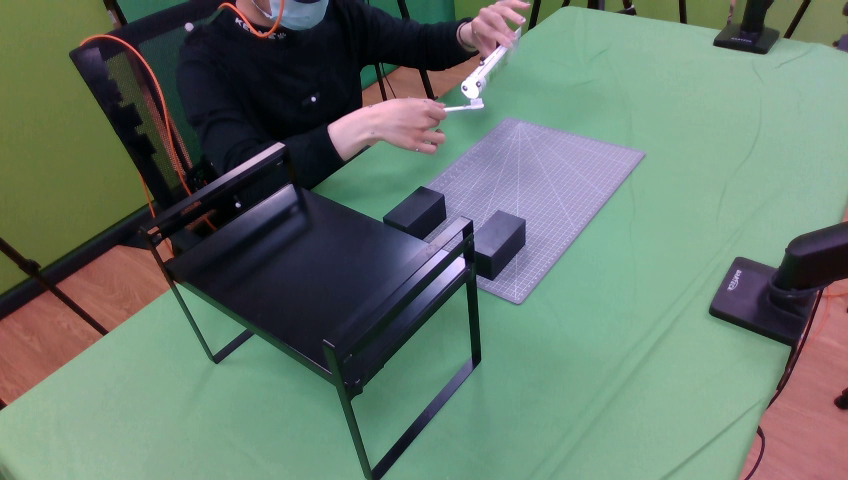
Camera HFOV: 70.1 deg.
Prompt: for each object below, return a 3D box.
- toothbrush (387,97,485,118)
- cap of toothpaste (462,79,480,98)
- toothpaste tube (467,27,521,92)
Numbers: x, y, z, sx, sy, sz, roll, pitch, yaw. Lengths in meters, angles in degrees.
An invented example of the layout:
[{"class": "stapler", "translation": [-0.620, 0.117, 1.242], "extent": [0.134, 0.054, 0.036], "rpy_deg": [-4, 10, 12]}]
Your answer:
[{"class": "toothbrush", "translation": [0.018, -0.234, 1.077], "extent": [0.181, 0.017, 0.014], "rpy_deg": [-4, 38, 18]}, {"class": "cap of toothpaste", "translation": [0.078, -0.257, 1.029], "extent": [0.037, 0.011, 0.037], "rpy_deg": [13, 64, -29]}, {"class": "toothpaste tube", "translation": [0.125, -0.316, 1.080], "extent": [0.034, 0.055, 0.165], "rpy_deg": [36, 67, 11]}]
